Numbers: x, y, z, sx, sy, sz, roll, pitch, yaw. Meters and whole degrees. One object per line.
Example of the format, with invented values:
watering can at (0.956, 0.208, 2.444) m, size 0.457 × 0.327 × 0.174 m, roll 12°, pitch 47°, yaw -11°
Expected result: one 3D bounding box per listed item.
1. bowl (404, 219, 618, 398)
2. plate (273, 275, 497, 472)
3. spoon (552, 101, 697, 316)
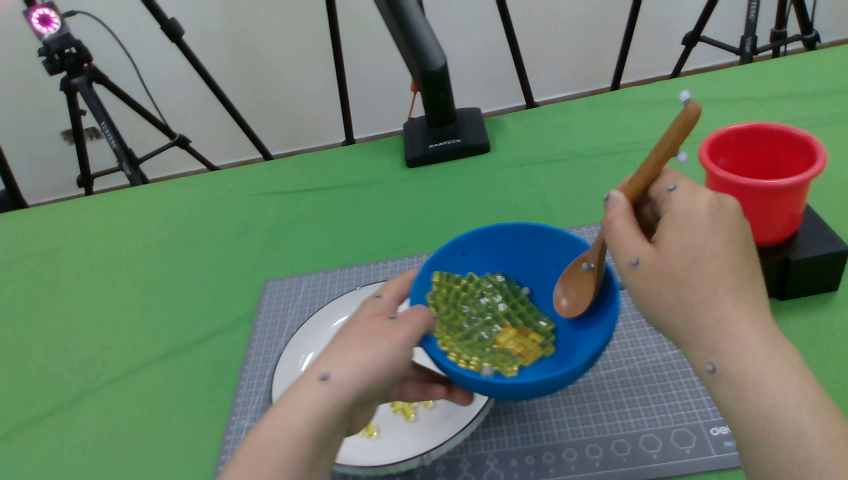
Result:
bowl at (0.065, 0.062, 0.455) m, size 0.151 × 0.077 × 0.150 m, roll -6°, pitch 44°, yaw 6°
plate at (-0.028, 0.115, 0.542) m, size 0.207 × 0.039 × 0.205 m, roll -8°, pitch 39°, yaw 7°
spoon at (0.120, -0.010, 0.387) m, size 0.022 × 0.195 × 0.041 m, roll 0°, pitch 53°, yaw -9°
